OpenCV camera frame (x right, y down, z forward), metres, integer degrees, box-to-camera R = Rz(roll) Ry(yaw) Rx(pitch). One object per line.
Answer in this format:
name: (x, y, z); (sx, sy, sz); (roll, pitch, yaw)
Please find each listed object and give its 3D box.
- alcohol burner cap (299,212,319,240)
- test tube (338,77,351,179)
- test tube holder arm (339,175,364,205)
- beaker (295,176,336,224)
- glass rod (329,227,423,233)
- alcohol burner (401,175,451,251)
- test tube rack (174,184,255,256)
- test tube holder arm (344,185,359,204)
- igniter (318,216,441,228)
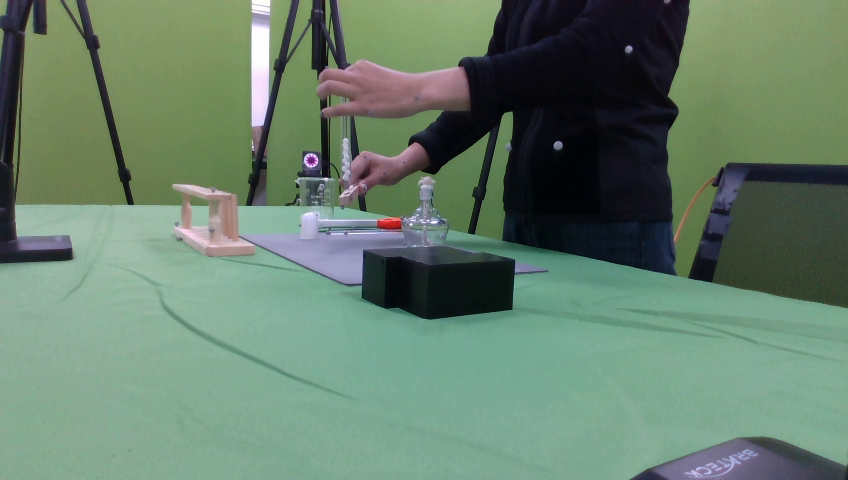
alcohol burner cap: (-0.195, -0.024, 1.025); (0.034, 0.048, 0.034); (3, 7, 0)
test tube: (-0.118, -0.166, 0.903); (0.017, 0.150, 0.017); (0, 7, 0)
test tube holder arm: (-0.118, -0.086, 0.999); (0.013, 0.015, 0.178); (3, 17, 2)
beaker: (-0.224, -0.080, 1.247); (0.084, 0.100, 0.073); (-1, 8, -18)
glass rod: (-0.087, -0.019, 1.148); (0.201, 0.008, 0.008); (-2, 8, -32)
alcohol burner: (0.003, -0.042, 0.947); (0.078, 0.119, 0.078); (1, 9, 0)
test tube rack: (-0.327, -0.036, 0.928); (0.067, 0.085, 0.241); (-2, 9, -32)
test tube holder arm: (-0.115, -0.072, 0.956); (0.010, 0.015, 0.088); (4, 17, 3)
igniter: (-0.090, -0.035, 1.222); (0.278, 0.025, 0.057); (-2, -2, -32)
